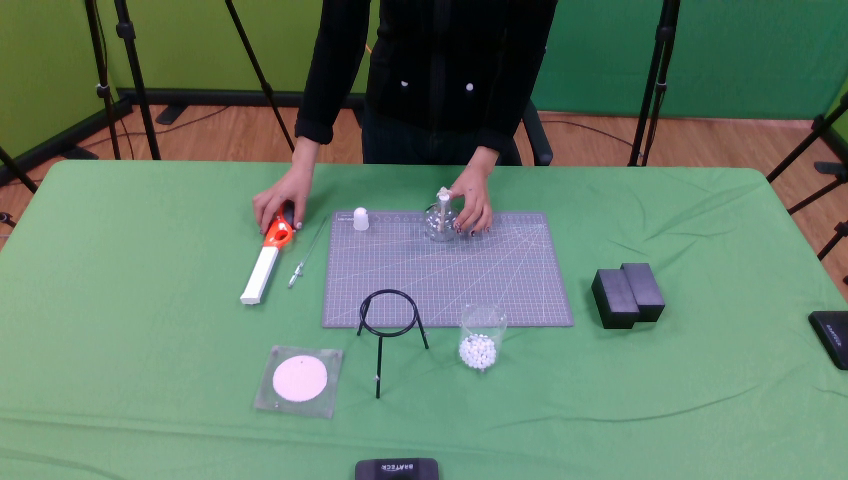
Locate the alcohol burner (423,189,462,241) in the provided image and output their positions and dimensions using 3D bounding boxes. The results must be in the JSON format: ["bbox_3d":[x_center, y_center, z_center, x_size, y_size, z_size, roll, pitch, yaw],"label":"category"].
[{"bbox_3d":[0.036,-0.055,1.186,0.078,0.120,0.077,1,48,-1],"label":"alcohol burner"}]

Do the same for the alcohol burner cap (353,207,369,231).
[{"bbox_3d":[-0.127,-0.046,1.215,0.034,0.048,0.033,2,47,-2],"label":"alcohol burner cap"}]

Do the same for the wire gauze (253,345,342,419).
[{"bbox_3d":[-0.200,0.224,0.979,0.125,0.011,0.121,7,47,0],"label":"wire gauze"}]

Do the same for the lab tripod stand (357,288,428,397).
[{"bbox_3d":[-0.058,0.155,0.967,0.148,0.132,0.147,3,47,-3],"label":"lab tripod stand"}]

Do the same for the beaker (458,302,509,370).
[{"bbox_3d":[0.092,0.159,0.999,0.083,0.101,0.074,35,53,28],"label":"beaker"}]

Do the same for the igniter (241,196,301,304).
[{"bbox_3d":[-0.290,0.010,1.164,0.057,0.025,0.275,0,45,11],"label":"igniter"}]

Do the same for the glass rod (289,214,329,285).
[{"bbox_3d":[-0.221,0.014,1.179,0.008,0.008,0.199,12,46,8],"label":"glass rod"}]
